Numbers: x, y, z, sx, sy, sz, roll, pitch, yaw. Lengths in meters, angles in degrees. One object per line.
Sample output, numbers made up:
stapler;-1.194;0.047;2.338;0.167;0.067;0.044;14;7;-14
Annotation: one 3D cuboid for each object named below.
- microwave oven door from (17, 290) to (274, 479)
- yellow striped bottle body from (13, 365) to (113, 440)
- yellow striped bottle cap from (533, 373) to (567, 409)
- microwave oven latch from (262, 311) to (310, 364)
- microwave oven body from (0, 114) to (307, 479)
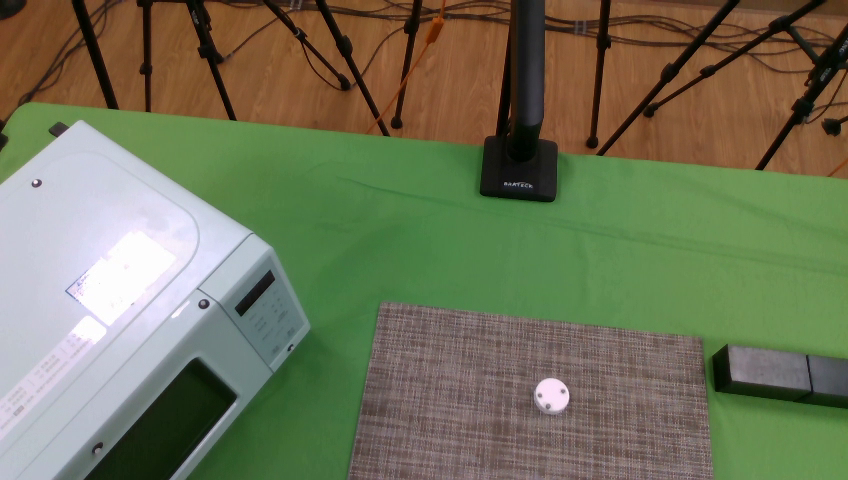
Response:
microwave oven door;-0.314;0.234;0.634;0.039;0.246;0.355;31;66;17
yellow striped bottle body;-0.405;0.180;0.678;0.063;0.121;0.062;1;60;-1
yellow striped bottle cap;0.166;0.198;0.795;0.044;0.019;0.044;-1;61;2
microwave oven latch;-0.185;0.125;0.808;0.030;0.030;0.079;33;67;16
microwave oven body;-0.410;0.134;0.694;0.324;0.262;0.440;31;67;15
